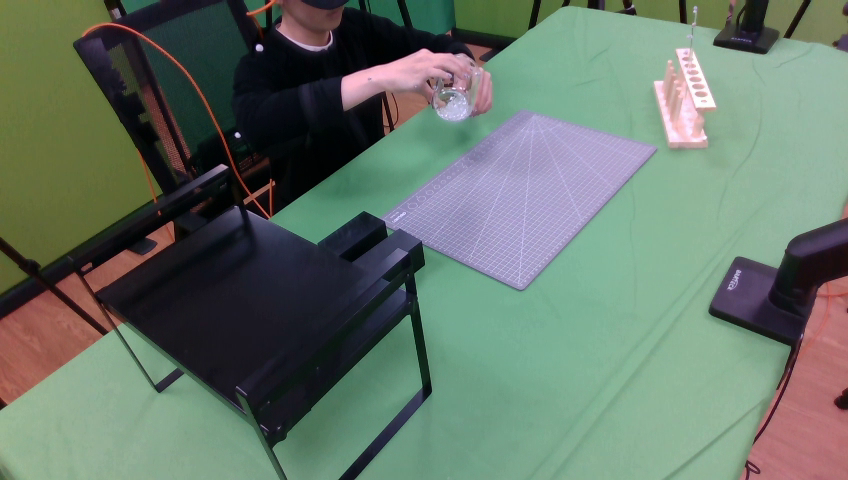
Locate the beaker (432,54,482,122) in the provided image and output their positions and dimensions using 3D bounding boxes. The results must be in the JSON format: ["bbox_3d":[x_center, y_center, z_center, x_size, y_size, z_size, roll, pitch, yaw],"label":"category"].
[{"bbox_3d":[0.055,-0.250,1.012,0.074,0.084,0.100,1,46,14],"label":"beaker"}]

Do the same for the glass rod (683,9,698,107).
[{"bbox_3d":[0.501,-0.336,1.139,0.008,0.201,0.008,-8,42,8],"label":"glass rod"}]

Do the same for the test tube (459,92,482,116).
[{"bbox_3d":[0.090,-0.255,1.140,0.017,0.017,0.151,6,2,15],"label":"test tube"}]

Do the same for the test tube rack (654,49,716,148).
[{"bbox_3d":[0.502,-0.281,1.176,0.066,0.085,0.241,2,41,11],"label":"test tube rack"}]
